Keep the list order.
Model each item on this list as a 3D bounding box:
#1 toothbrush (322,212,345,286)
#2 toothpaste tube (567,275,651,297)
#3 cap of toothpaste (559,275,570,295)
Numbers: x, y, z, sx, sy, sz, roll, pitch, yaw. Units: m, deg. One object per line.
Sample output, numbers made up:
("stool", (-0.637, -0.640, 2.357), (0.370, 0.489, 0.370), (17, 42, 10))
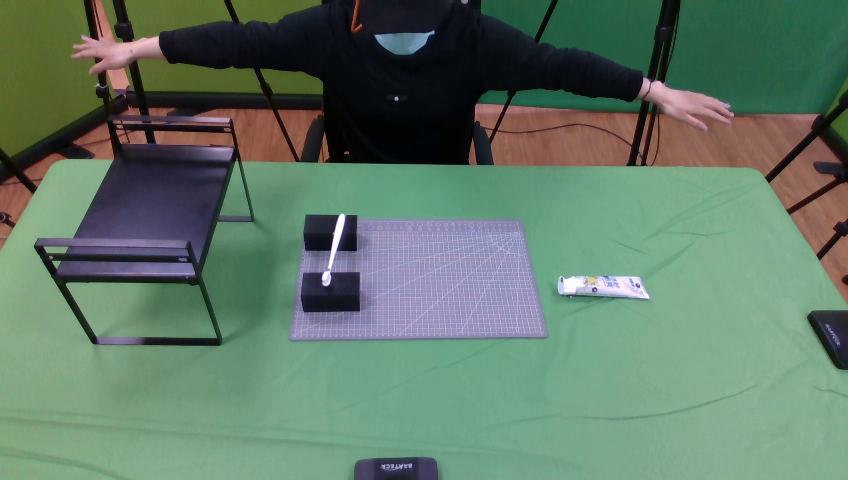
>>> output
("toothbrush", (-0.164, 0.011, 1.101), (0.014, 0.017, 0.181), (-6, 44, 11))
("toothpaste tube", (0.339, 0.085, 1.132), (0.165, 0.035, 0.054), (0, 50, -9))
("cap of toothpaste", (0.261, 0.083, 1.120), (0.011, 0.037, 0.037), (-1, 47, -9))
